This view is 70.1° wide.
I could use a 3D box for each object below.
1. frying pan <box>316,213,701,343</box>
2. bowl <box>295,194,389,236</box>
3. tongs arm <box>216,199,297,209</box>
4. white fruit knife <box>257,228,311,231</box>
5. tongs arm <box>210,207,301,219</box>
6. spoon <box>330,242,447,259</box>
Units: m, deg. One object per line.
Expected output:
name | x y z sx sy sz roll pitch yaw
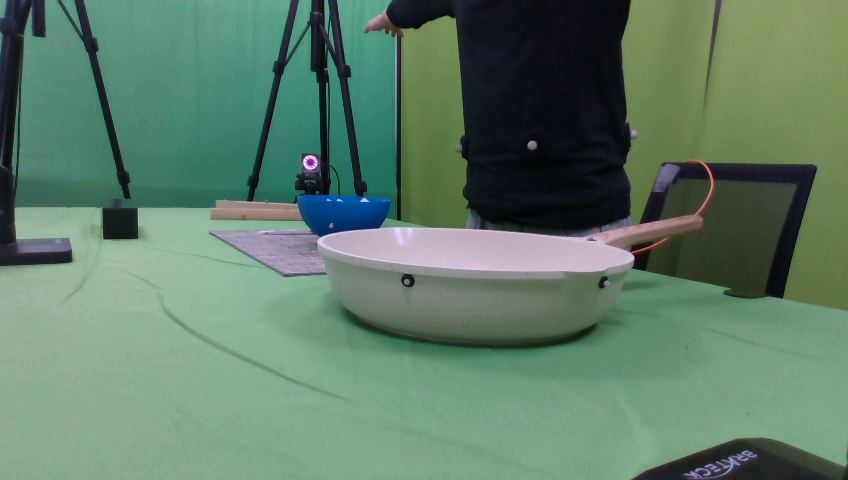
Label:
frying pan | 0.133 0.013 0.629 0.490 0.102 0.305 -11 14 -30
bowl | -0.132 -0.032 0.980 0.151 0.077 0.151 2 7 0
tongs arm | -0.307 -0.076 1.469 0.386 0.026 0.050 2 8 -10
white fruit knife | -0.202 -0.021 1.116 0.208 0.016 0.027 -2 -1 -24
tongs arm | -0.287 -0.061 1.392 0.389 0.028 0.028 0 5 -23
spoon | -0.046 0.011 0.883 0.195 0.021 0.041 -4 24 -30
